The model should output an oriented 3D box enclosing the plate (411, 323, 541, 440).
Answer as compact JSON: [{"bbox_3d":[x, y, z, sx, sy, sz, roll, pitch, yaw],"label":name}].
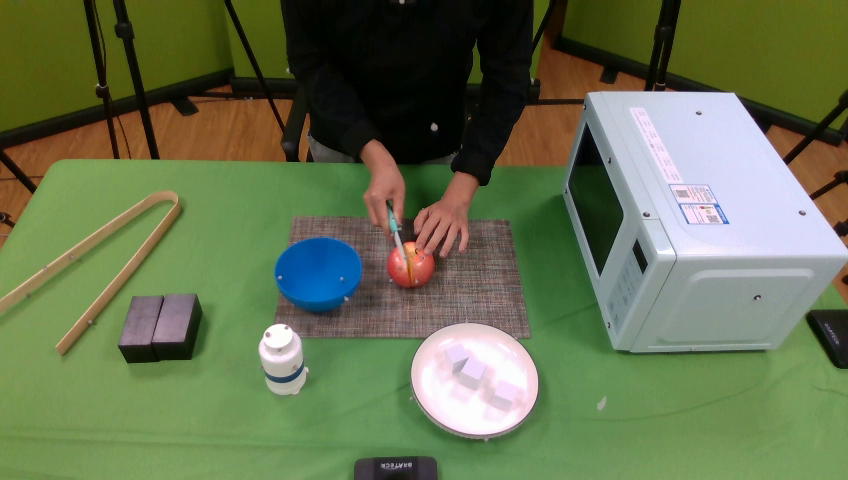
[{"bbox_3d":[0.082,0.228,0.976,0.208,0.039,0.206,2,45,-2],"label":"plate"}]

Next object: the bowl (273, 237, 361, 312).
[{"bbox_3d":[-0.186,0.075,1.069,0.151,0.077,0.150,3,46,-3],"label":"bowl"}]

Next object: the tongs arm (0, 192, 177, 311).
[{"bbox_3d":[-0.618,0.019,1.124,0.050,0.026,0.384,24,47,17],"label":"tongs arm"}]

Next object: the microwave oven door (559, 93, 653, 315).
[{"bbox_3d":[0.327,-0.074,1.123,0.039,0.245,0.353,-1,46,-5],"label":"microwave oven door"}]

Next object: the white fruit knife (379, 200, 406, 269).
[{"bbox_3d":[-0.056,-0.014,1.109,0.016,0.027,0.206,-5,39,-15],"label":"white fruit knife"}]

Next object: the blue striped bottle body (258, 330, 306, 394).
[{"bbox_3d":[-0.220,0.182,0.937,0.063,0.121,0.062,2,46,-2],"label":"blue striped bottle body"}]

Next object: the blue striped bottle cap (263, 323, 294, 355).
[{"bbox_3d":[-0.217,0.146,0.900,0.044,0.021,0.044,1,46,-1],"label":"blue striped bottle cap"}]

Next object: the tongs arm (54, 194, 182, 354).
[{"bbox_3d":[-0.543,0.048,1.107,0.028,0.028,0.385,11,46,10],"label":"tongs arm"}]

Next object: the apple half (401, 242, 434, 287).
[{"bbox_3d":[-0.010,0.046,1.117,0.053,0.075,0.080,-4,41,-16],"label":"apple half"}]

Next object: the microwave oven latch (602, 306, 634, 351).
[{"bbox_3d":[0.332,0.153,1.044,0.030,0.029,0.078,-1,45,-4],"label":"microwave oven latch"}]

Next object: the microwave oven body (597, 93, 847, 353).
[{"bbox_3d":[0.475,-0.041,1.109,0.326,0.261,0.438,-1,45,-4],"label":"microwave oven body"}]

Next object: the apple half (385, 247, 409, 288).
[{"bbox_3d":[-0.052,0.056,1.104,0.033,0.082,0.080,-16,49,-13],"label":"apple half"}]
